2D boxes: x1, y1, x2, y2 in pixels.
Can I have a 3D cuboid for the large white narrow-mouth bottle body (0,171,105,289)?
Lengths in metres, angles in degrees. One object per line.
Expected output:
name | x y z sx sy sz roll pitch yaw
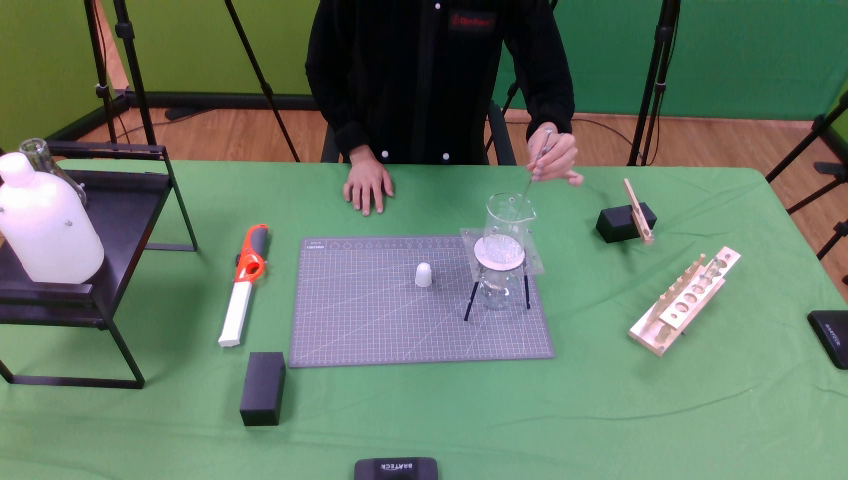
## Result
large white narrow-mouth bottle body | -0.513 -0.029 0.818 0.102 0.195 0.101 2 46 -2

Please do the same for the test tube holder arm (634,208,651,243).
test tube holder arm | 0.428 -0.030 1.189 0.010 0.015 0.087 2 47 -2

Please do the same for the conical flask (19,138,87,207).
conical flask | -0.576 -0.097 0.930 0.075 0.122 0.075 2 46 -2

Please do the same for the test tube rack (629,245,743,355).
test tube rack | 0.474 0.095 1.091 0.242 0.085 0.066 -34 56 -31

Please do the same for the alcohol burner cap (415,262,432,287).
alcohol burner cap | 0.000 0.061 1.119 0.034 0.048 0.033 2 45 -2

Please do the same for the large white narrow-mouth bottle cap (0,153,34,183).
large white narrow-mouth bottle cap | -0.510 -0.090 0.754 0.038 0.024 0.037 2 46 -2

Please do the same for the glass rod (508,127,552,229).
glass rod | 0.158 -0.087 0.912 0.008 0.200 0.008 8 44 -8

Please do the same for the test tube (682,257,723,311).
test tube | 0.475 0.080 1.037 0.017 0.151 0.017 1 50 -1

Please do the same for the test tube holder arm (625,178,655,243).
test tube holder arm | 0.433 -0.062 1.220 0.013 0.015 0.177 2 47 -3

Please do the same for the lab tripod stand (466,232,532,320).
lab tripod stand | 0.125 0.060 1.065 0.148 0.132 0.147 1 45 0

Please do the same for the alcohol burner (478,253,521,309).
alcohol burner | 0.134 0.067 1.072 0.078 0.120 0.077 0 47 0

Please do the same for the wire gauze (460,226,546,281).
wire gauze | 0.130 0.017 1.016 0.121 0.011 0.124 -4 43 -9

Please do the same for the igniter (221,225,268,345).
igniter | -0.323 0.072 1.100 0.057 0.025 0.274 -6 45 5

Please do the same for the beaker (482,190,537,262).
beaker | 0.136 -0.019 0.983 0.084 0.101 0.073 17 47 14
